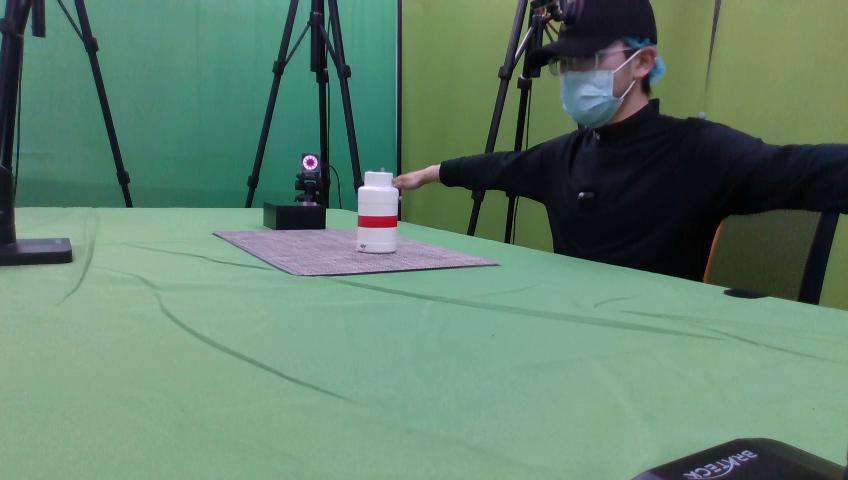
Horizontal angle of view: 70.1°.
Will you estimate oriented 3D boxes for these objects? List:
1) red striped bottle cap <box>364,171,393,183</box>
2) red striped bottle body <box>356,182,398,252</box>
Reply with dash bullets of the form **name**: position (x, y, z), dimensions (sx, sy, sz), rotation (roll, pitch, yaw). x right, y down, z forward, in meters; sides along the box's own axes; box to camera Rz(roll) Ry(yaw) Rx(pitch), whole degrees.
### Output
- **red striped bottle cap**: position (-0.069, -0.096, 0.918), dimensions (0.044, 0.017, 0.044), rotation (0, 5, 0)
- **red striped bottle body**: position (-0.071, -0.044, 0.924), dimensions (0.063, 0.119, 0.063), rotation (2, 7, 0)
